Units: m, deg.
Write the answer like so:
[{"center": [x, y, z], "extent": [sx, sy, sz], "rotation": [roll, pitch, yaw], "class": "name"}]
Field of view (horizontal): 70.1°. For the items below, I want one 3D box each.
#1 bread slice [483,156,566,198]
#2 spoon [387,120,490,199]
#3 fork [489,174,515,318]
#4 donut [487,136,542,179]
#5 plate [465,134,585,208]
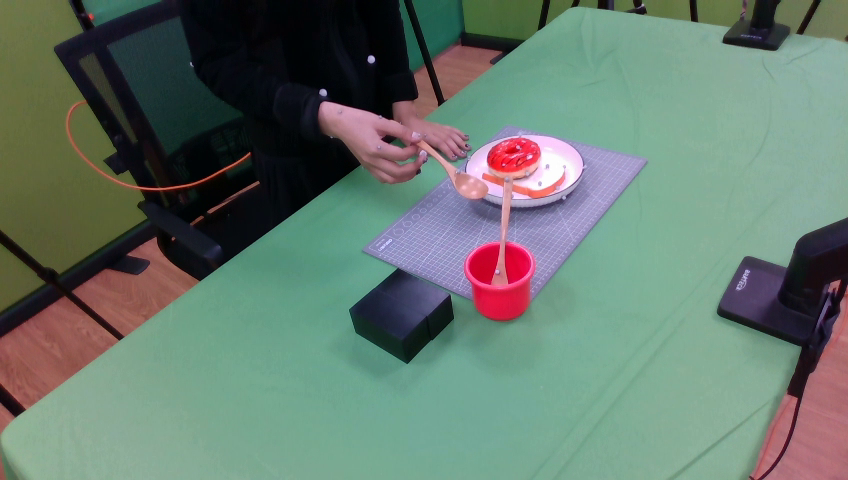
[{"center": [0.187, -0.120, 1.077], "extent": [0.130, 0.019, 0.105], "rotation": [27, 53, 37], "class": "bread slice"}, {"center": [0.018, -0.123, 0.892], "extent": [0.193, 0.021, 0.042], "rotation": [42, 67, 13], "class": "spoon"}, {"center": [0.113, 0.006, 0.853], "extent": [0.028, 0.019, 0.207], "rotation": [4, 84, 16], "class": "fork"}, {"center": [0.159, -0.147, 1.068], "extent": [0.099, 0.048, 0.098], "rotation": [-9, 39, 8], "class": "donut"}, {"center": [0.178, -0.120, 1.075], "extent": [0.209, 0.038, 0.208], "rotation": [-5, 40, 5], "class": "plate"}]
